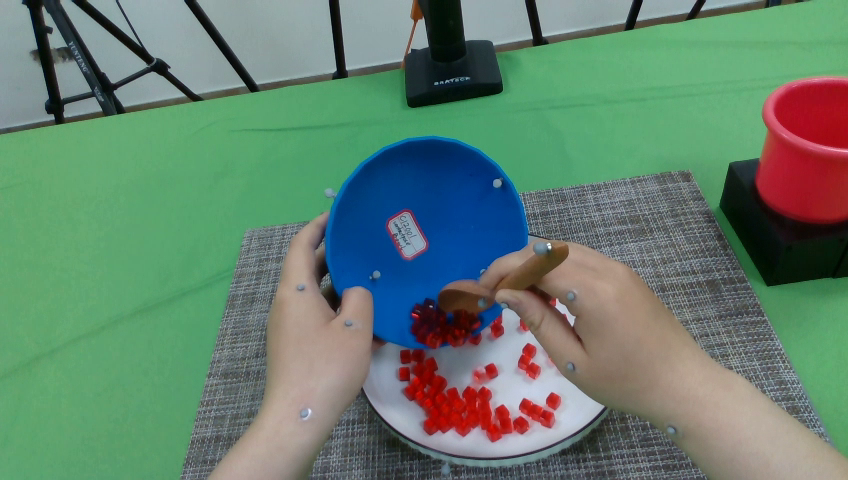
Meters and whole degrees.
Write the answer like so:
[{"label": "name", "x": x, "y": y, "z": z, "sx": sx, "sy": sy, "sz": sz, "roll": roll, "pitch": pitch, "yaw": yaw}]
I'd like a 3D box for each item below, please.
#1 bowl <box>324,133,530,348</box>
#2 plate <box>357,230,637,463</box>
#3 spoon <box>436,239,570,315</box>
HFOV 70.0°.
[{"label": "bowl", "x": -0.005, "y": -0.001, "z": 0.455, "sx": 0.151, "sy": 0.152, "sz": 0.076, "roll": -27, "pitch": 13, "yaw": -15}, {"label": "plate", "x": 0.054, "y": 0.076, "z": 0.467, "sx": 0.207, "sy": 0.039, "sz": 0.205, "roll": -6, "pitch": 45, "yaw": 7}, {"label": "spoon", "x": 0.044, "y": 0.028, "z": 0.363, "sx": 0.042, "sy": 0.194, "sz": 0.021, "roll": 14, "pitch": 77, "yaw": -9}]
